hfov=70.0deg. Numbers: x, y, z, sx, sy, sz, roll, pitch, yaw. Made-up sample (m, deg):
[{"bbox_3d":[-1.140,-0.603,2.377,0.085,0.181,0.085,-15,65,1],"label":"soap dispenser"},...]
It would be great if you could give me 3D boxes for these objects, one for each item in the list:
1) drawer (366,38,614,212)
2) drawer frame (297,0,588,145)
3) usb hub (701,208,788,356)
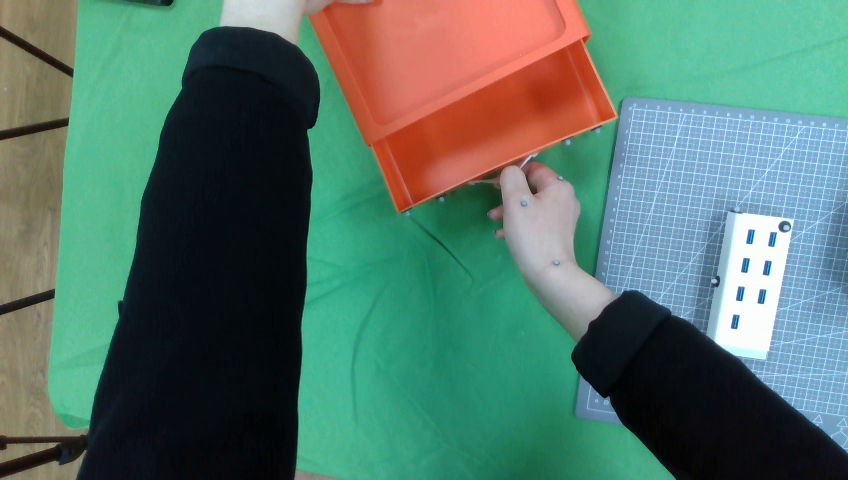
[{"bbox_3d":[0.027,-0.156,0.516,0.194,0.073,0.212,-23,93,9],"label":"drawer"},{"bbox_3d":[-0.001,-0.215,0.509,0.201,0.083,0.213,-25,93,9],"label":"drawer frame"},{"bbox_3d":[0.281,0.037,0.534,0.049,0.025,0.125,7,98,6],"label":"usb hub"}]
